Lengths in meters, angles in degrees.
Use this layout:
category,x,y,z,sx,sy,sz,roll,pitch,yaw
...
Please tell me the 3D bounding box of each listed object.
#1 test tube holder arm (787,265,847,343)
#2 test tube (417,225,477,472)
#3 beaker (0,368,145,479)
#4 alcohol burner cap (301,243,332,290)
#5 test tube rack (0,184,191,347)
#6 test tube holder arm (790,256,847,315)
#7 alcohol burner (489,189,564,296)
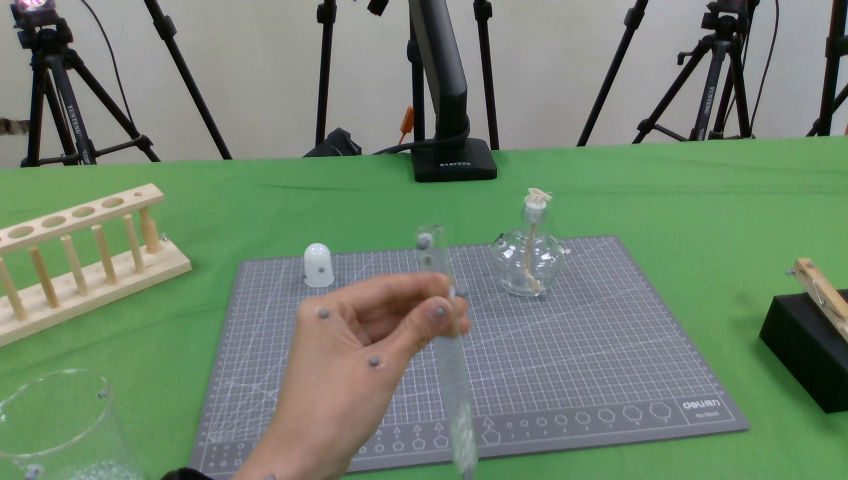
category,x,y,z,sx,sy,sz,roll,pitch,yaw
test tube holder arm,0.362,0.073,0.521,0.015,0.013,0.177,2,33,2
test tube,0.014,0.064,0.335,0.017,0.151,0.017,-8,17,3
beaker,-0.242,0.150,0.415,0.084,0.101,0.073,0,33,2
alcohol burner cap,-0.117,0.026,0.652,0.034,0.048,0.033,0,33,0
test tube rack,-0.374,0.029,0.612,0.243,0.086,0.066,-25,41,-33
test tube holder arm,0.364,0.043,0.556,0.015,0.010,0.087,2,34,2
alcohol burner,0.108,-0.001,0.629,0.078,0.120,0.077,2,33,-1
